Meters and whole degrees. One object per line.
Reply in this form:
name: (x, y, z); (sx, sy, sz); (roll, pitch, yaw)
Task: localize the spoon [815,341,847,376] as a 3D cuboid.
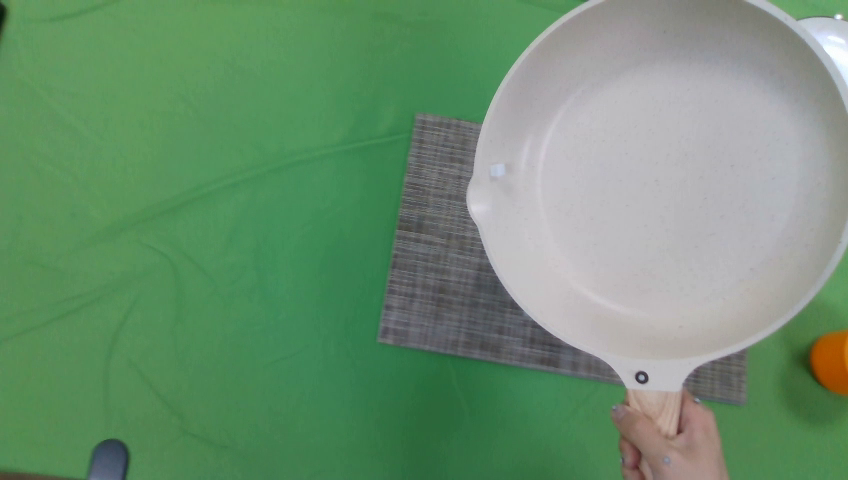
spoon: (0.557, 0.130, 0.687); (0.022, 0.193, 0.041); (9, 72, -47)

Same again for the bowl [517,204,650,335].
bowl: (0.178, 0.040, 0.713); (0.151, 0.077, 0.150); (1, 77, -3)

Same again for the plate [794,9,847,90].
plate: (0.512, -0.187, 0.762); (0.208, 0.039, 0.206); (1, 79, -3)

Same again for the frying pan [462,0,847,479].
frying pan: (0.177, 0.050, 0.485); (0.305, 0.103, 0.486); (-3, 84, 35)
